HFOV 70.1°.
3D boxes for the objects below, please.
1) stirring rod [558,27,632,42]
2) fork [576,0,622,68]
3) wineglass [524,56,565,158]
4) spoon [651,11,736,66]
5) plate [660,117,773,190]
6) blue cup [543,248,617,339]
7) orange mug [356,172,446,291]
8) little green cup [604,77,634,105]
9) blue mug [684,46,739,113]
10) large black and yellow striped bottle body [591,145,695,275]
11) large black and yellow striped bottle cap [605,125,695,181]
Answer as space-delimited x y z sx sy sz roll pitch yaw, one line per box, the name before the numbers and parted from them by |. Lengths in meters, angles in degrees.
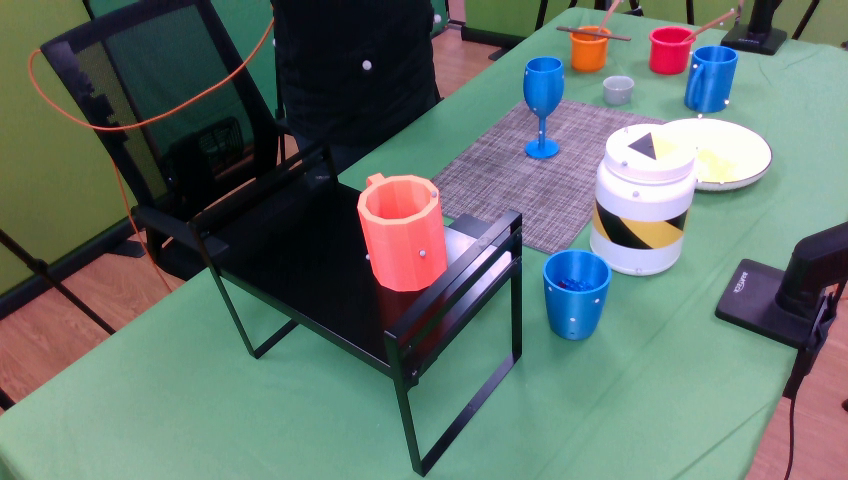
stirring rod | 0.381 -0.463 1.356 0.175 0.006 0.014 21 48 30
fork | 0.409 -0.484 1.381 0.028 0.019 0.207 37 101 46
wineglass | 0.218 -0.239 1.101 0.074 0.173 0.073 -5 41 4
spoon | 0.574 -0.431 1.297 0.022 0.193 0.041 42 48 -12
plate | 0.495 -0.148 1.063 0.209 0.038 0.208 -5 40 4
blue cup | 0.199 0.076 0.797 0.092 0.100 0.092 -4 39 4
orange mug | -0.030 -0.018 0.669 0.084 0.101 0.125 -23 47 -16
little green cup | 0.407 -0.311 1.266 0.061 0.039 0.061 -5 40 5
blue mug | 0.556 -0.310 1.190 0.117 0.106 0.081 -32 46 -25
large black and yellow striped bottle body | 0.313 -0.056 0.871 0.131 0.185 0.130 -4 40 4
large black and yellow striped bottle cap | 0.304 -0.120 0.817 0.115 0.019 0.114 -3 41 3
